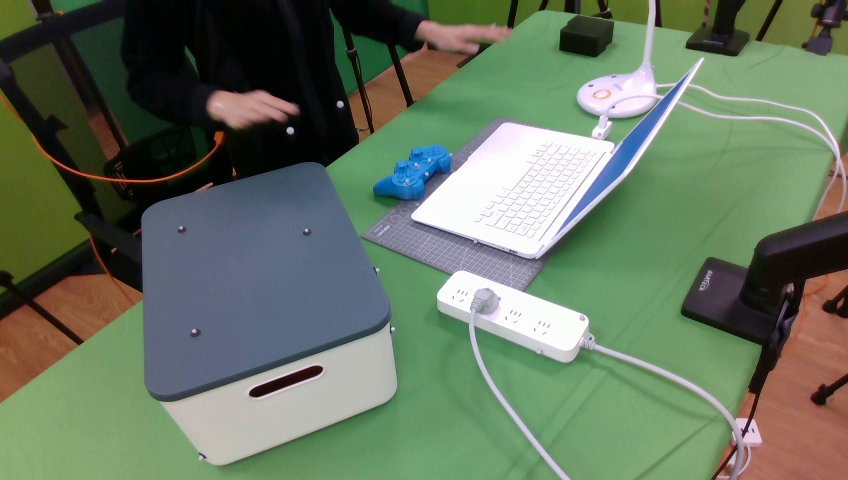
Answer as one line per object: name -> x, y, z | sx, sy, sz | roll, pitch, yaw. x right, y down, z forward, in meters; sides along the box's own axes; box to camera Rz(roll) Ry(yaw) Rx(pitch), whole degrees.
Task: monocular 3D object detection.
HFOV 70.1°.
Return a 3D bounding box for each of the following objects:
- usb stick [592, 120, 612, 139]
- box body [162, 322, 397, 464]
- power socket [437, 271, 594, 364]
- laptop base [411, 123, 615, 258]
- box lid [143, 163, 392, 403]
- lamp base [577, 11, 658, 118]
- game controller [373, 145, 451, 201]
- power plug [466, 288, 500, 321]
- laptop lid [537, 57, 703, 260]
usb stick -> 0.335, -0.203, 1.149 | 0.021, 0.027, 0.059 | 26, 53, 26
box body -> -0.205, 0.080, 0.802 | 0.255, 0.161, 0.361 | -18, 41, -13
power socket -> 0.118, 0.102, 0.830 | 0.225, 0.033, 0.072 | 20, 48, 28
laptop base -> 0.167, -0.102, 1.074 | 0.234, 0.023, 0.355 | 16, 45, 30
box lid -> -0.212, 0.025, 0.753 | 0.264, 0.015, 0.368 | -18, 40, -13
lamp base -> 0.406, -0.363, 1.222 | 0.180, 0.181, 0.159 | -20, 42, -18
game controller -> -0.018, -0.130, 1.111 | 0.096, 0.052, 0.155 | 22, 49, 26
power plug -> 0.072, 0.093, 0.813 | 0.035, 0.053, 0.073 | 30, 54, 35
laptop lid -> 0.304, -0.127, 0.928 | 0.013, 0.241, 0.357 | 39, 51, 4
